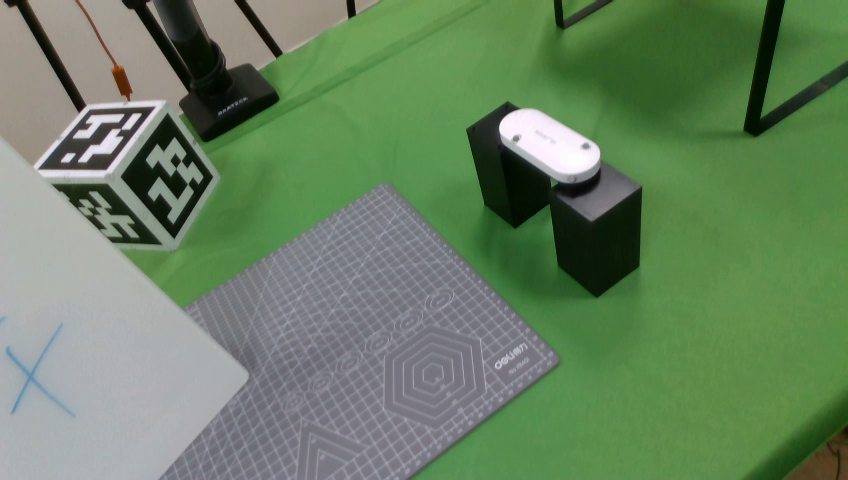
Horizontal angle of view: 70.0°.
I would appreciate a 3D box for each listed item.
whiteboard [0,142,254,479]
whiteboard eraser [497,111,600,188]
[{"bbox_3d":[-0.335,0.087,0.483,0.143,0.308,0.216,10,53,50],"label":"whiteboard"},{"bbox_3d":[0.100,-0.077,0.500,0.041,0.019,0.100,-35,50,-14],"label":"whiteboard eraser"}]
